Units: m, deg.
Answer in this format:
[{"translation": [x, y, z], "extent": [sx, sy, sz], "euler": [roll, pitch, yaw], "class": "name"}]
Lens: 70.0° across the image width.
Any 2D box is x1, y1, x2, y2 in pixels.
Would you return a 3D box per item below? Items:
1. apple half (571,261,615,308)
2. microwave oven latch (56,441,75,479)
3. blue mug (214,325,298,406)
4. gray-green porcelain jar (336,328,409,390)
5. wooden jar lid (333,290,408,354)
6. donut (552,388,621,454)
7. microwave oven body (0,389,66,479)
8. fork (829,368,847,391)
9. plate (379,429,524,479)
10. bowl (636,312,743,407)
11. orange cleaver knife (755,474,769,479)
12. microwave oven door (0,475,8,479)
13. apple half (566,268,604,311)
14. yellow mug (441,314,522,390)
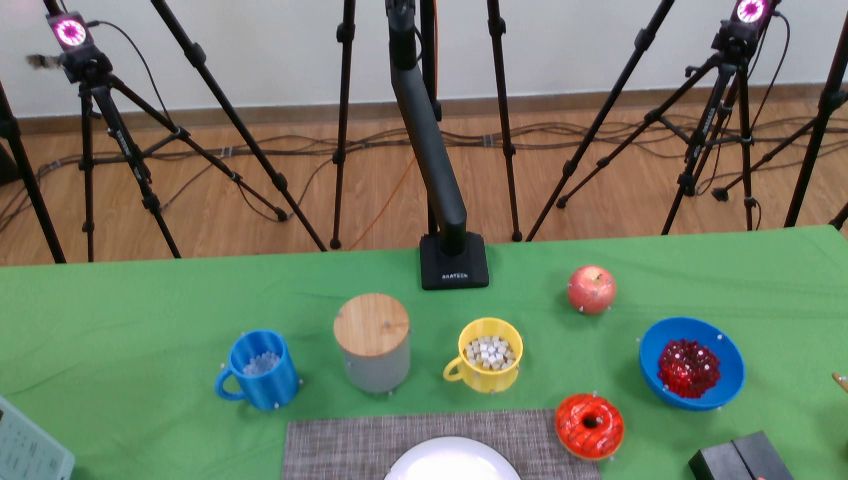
[{"translation": [0.290, 0.073, 1.024], "extent": [0.053, 0.075, 0.080], "euler": [-26, 51, -26], "class": "apple half"}, {"translation": [-0.508, 0.318, 0.831], "extent": [0.030, 0.030, 0.078], "euler": [0, 51, 0], "class": "microwave oven latch"}, {"translation": [-0.255, 0.196, 0.909], "extent": [0.117, 0.107, 0.081], "euler": [-23, 54, -17], "class": "blue mug"}, {"translation": [-0.076, 0.160, 0.923], "extent": [0.106, 0.127, 0.105], "euler": [0, 51, 1], "class": "gray-green porcelain jar"}, {"translation": [-0.077, 0.120, 0.874], "extent": [0.108, 0.021, 0.107], "euler": [-1, 49, 1], "class": "wooden jar lid"}, {"translation": [0.236, 0.263, 0.883], "extent": [0.099, 0.048, 0.098], "euler": [0, 52, 1], "class": "donut"}, {"translation": [-0.651, 0.399, 0.642], "extent": [0.326, 0.262, 0.437], "euler": [-2, 51, -1], "class": "microwave oven body"}, {"translation": [0.615, 0.242, 0.832], "extent": [0.208, 0.018, 0.028], "euler": [46, 54, -16], "class": "fork"}, {"translation": [0.037, 0.360, 0.811], "extent": [0.208, 0.039, 0.205], "euler": [0, 51, 1], "class": "plate"}, {"translation": [0.391, 0.193, 0.921], "extent": [0.151, 0.077, 0.150], "euler": [0, 51, 1], "class": "bowl"}, {"translation": [0.461, 0.400, 0.749], "extent": [0.012, 0.077, 0.210], "euler": [-12, 75, -5], "class": "orange cleaver knife"}, {"translation": [-0.504, 0.423, 0.614], "extent": [0.039, 0.246, 0.352], "euler": [-2, 51, -1], "class": "microwave oven door"}, {"translation": [0.259, 0.090, 1.008], "extent": [0.033, 0.082, 0.080], "euler": [-27, 55, -25], "class": "apple half"}, {"translation": [0.086, 0.180, 0.944], "extent": [0.131, 0.064, 0.099], "euler": [-22, 54, -15], "class": "yellow mug"}]
